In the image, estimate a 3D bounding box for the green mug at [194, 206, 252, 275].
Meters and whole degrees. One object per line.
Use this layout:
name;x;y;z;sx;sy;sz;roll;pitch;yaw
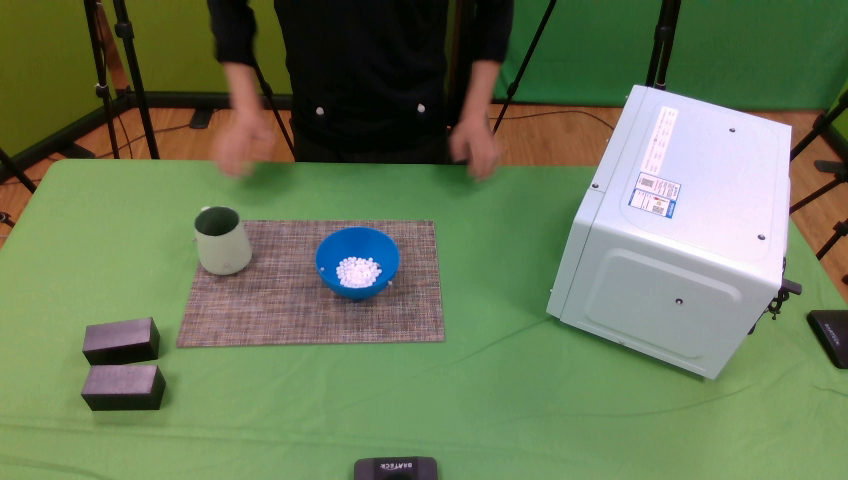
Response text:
green mug;-0.377;-0.008;1.112;0.092;0.105;0.124;-26;53;-26

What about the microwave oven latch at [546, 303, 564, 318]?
microwave oven latch;0.242;0.102;1.081;0.030;0.029;0.079;21;48;17

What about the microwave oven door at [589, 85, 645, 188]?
microwave oven door;0.342;-0.107;1.149;0.039;0.245;0.354;20;48;15

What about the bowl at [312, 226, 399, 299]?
bowl;-0.121;0.054;1.091;0.151;0.077;0.150;2;46;-2

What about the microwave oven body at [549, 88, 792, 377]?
microwave oven body;0.456;-0.028;1.088;0.325;0.261;0.440;20;47;16
